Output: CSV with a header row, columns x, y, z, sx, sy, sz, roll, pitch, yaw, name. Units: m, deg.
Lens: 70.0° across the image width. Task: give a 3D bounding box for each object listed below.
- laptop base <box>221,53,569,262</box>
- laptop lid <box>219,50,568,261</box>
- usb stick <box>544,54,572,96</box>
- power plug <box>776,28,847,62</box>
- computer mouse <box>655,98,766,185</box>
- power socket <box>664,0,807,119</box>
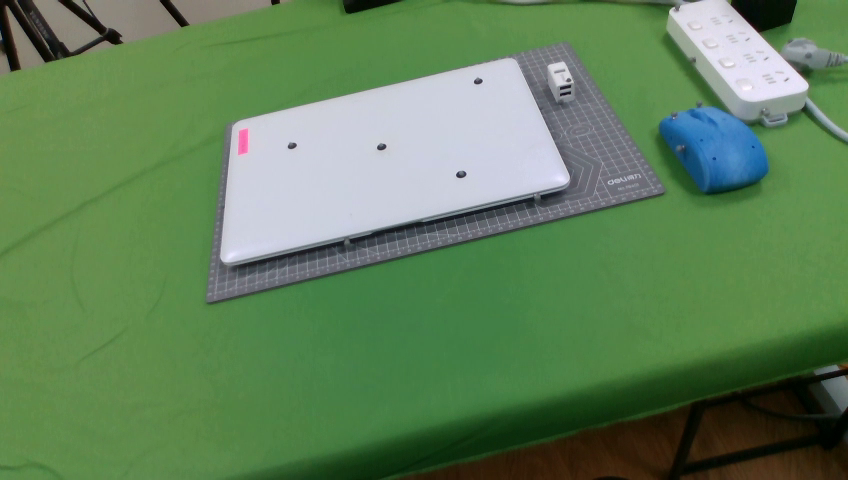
x,y,z,sx,sy,sz,roll,pitch,yaw,name
-0.045,-0.098,0.668,0.354,0.023,0.233,-13,50,1,laptop base
-0.047,-0.104,0.658,0.357,0.013,0.239,-12,49,2,laptop lid
0.153,-0.194,0.698,0.021,0.027,0.058,-13,46,5,usb stick
0.418,-0.204,0.652,0.072,0.035,0.052,15,28,-2,power plug
0.274,-0.103,0.585,0.063,0.041,0.116,-15,43,3,computer mouse
0.338,-0.214,0.672,0.072,0.033,0.224,-12,47,4,power socket
